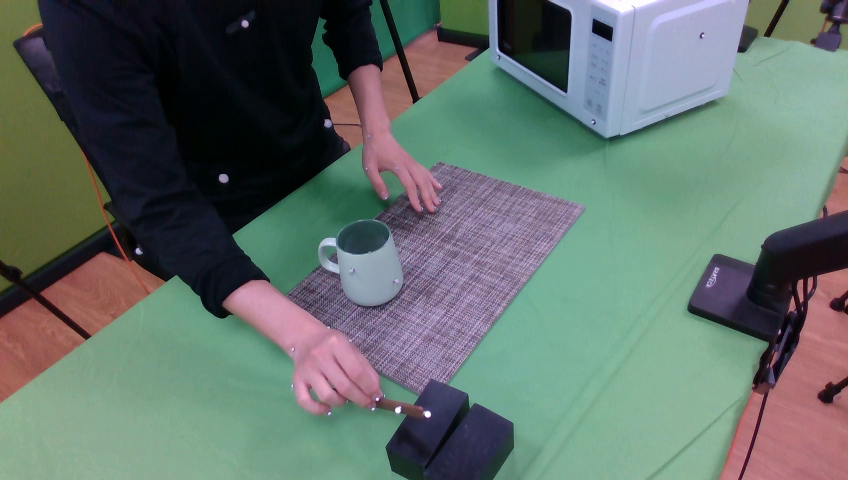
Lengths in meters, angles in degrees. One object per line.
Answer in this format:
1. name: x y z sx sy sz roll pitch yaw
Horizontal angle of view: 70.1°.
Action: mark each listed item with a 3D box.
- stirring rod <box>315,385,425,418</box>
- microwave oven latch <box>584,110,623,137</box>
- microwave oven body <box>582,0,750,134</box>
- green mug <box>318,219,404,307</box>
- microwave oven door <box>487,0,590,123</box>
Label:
1. stirring rod: -0.067 0.186 0.702 0.175 0.014 0.006 -1 29 39
2. microwave oven latch: 0.337 -0.222 1.142 0.030 0.029 0.078 -21 42 -14
3. microwave oven body: 0.382 -0.445 1.246 0.327 0.261 0.437 -22 42 -16
4. green mug: -0.095 0.032 0.877 0.125 0.105 0.092 8 43 17
5. microwave oven door: 0.232 -0.420 1.231 0.039 0.245 0.352 -22 43 -16
